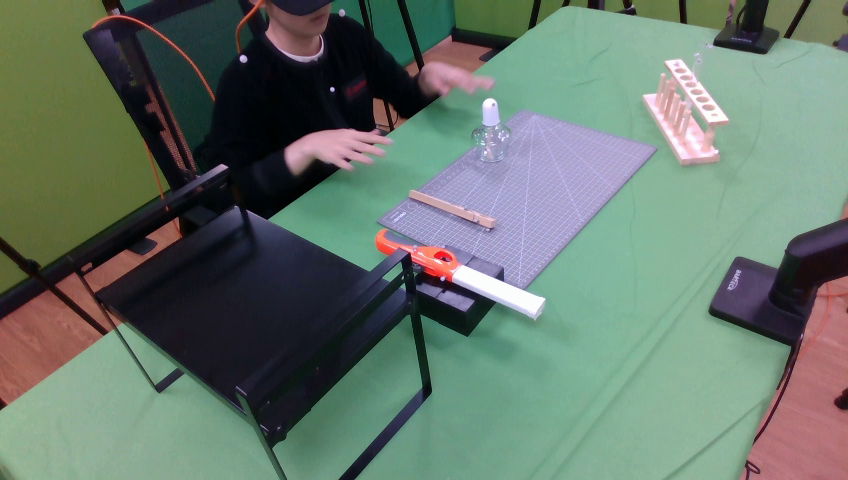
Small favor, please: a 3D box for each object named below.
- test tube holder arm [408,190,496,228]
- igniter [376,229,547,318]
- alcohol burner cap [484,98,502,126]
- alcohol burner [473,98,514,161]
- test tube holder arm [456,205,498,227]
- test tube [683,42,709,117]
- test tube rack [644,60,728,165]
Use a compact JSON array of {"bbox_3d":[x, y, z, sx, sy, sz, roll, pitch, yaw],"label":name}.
[{"bbox_3d":[0.045,-0.055,1.029,0.177,0.015,0.013,22,12,30],"label":"test tube holder arm"},{"bbox_3d":[0.040,0.041,0.845,0.274,0.025,0.057,22,46,27],"label":"igniter"},{"bbox_3d":[0.124,-0.236,1.101,0.034,0.048,0.033,-6,39,5],"label":"alcohol burner cap"},{"bbox_3d":[0.127,-0.208,1.123,0.078,0.119,0.077,-5,39,5],"label":"alcohol burner"},{"bbox_3d":[0.083,-0.041,1.011,0.087,0.015,0.010,22,12,32],"label":"test tube holder arm"},{"bbox_3d":[0.499,-0.292,1.115,0.017,0.151,0.017,-3,44,3],"label":"test tube"},{"bbox_3d":[0.486,-0.247,1.139,0.067,0.085,0.241,-5,41,4],"label":"test tube rack"}]
